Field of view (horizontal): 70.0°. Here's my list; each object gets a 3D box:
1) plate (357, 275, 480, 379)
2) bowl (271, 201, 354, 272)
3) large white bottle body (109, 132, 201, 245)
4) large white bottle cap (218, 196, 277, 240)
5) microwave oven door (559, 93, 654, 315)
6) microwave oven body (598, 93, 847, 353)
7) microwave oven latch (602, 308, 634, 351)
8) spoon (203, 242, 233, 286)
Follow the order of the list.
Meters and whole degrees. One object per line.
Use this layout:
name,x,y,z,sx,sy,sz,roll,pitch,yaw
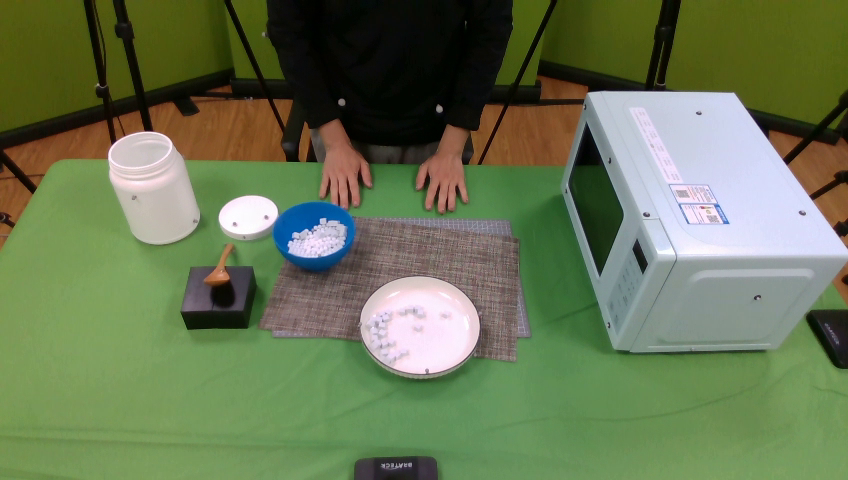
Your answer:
plate,-0.009,0.151,1.038,0.209,0.038,0.208,2,47,-2
bowl,-0.205,0.006,1.135,0.151,0.077,0.150,3,46,-3
large white bottle body,-0.506,-0.097,1.141,0.131,0.185,0.130,2,46,-2
large white bottle cap,-0.354,-0.045,1.220,0.115,0.018,0.114,1,45,-1
microwave oven door,0.327,-0.074,1.123,0.039,0.245,0.353,-1,46,-5
microwave oven body,0.475,-0.041,1.109,0.326,0.261,0.438,-1,45,-4
microwave oven latch,0.332,0.153,1.044,0.030,0.029,0.078,-1,45,-4
spoon,-0.360,0.039,1.087,0.041,0.022,0.192,-6,24,-7
